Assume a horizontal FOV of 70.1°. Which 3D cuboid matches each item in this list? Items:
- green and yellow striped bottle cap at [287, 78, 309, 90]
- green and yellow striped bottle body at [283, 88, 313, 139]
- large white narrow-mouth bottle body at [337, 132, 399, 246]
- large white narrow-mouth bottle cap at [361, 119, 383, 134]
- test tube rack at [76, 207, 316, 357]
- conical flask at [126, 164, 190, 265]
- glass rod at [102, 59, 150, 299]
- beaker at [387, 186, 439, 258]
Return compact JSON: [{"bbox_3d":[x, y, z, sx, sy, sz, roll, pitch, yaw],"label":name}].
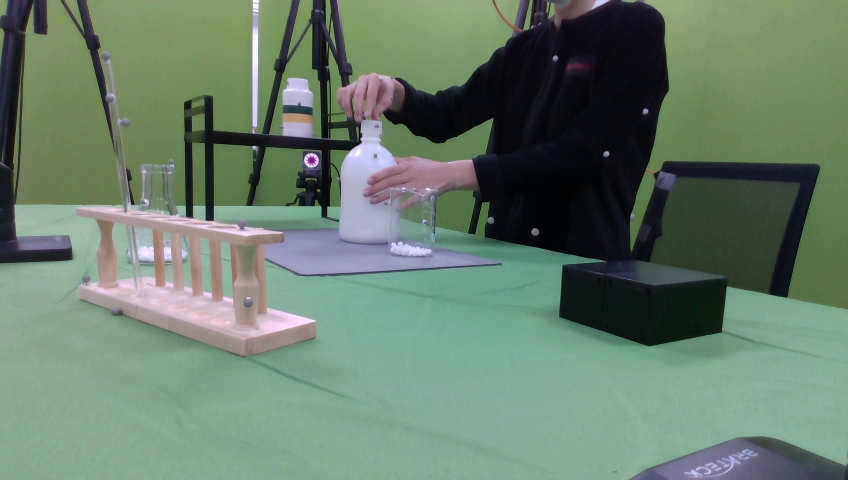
[{"bbox_3d":[-0.265,-0.326,1.268,0.045,0.020,0.045,4,6,0],"label":"green and yellow striped bottle cap"},{"bbox_3d":[-0.266,-0.275,1.275,0.063,0.119,0.063,3,7,0],"label":"green and yellow striped bottle body"},{"bbox_3d":[-0.092,-0.092,1.014,0.102,0.194,0.101,4,9,0],"label":"large white narrow-mouth bottle body"},{"bbox_3d":[-0.085,-0.187,0.998,0.038,0.024,0.037,4,9,0],"label":"large white narrow-mouth bottle cap"},{"bbox_3d":[-0.196,0.023,0.500,0.241,0.085,0.067,8,9,36],"label":"test tube rack"},{"bbox_3d":[-0.332,-0.033,0.756,0.075,0.122,0.075,2,7,0],"label":"conical flask"},{"bbox_3d":[-0.243,-0.045,0.496,0.008,0.199,0.008,-3,13,1],"label":"glass rod"},{"bbox_3d":[-0.015,-0.027,0.886,0.074,0.100,0.083,-1,9,-20],"label":"beaker"}]
